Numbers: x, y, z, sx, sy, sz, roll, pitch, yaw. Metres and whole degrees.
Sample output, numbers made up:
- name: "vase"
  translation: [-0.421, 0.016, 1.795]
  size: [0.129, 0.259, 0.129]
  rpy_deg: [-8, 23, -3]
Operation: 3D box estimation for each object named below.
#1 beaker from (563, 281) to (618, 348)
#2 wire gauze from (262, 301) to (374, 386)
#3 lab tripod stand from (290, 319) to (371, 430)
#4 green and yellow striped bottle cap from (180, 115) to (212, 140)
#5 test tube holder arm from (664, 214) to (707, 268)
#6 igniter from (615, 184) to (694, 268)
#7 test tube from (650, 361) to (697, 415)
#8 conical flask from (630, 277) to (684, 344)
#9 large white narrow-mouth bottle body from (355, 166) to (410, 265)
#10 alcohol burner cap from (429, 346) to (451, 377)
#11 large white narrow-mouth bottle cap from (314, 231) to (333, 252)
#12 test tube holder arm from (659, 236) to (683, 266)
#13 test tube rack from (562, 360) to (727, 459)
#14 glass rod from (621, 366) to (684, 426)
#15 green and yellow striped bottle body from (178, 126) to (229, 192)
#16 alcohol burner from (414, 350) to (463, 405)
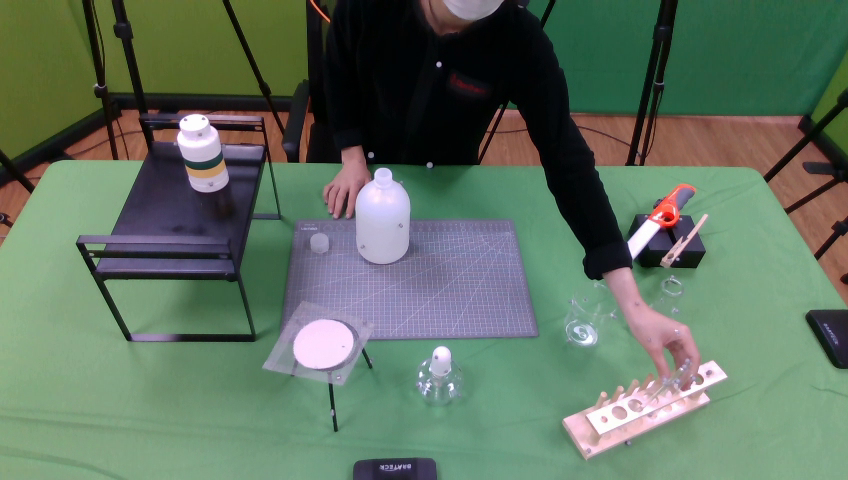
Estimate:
- name: "beaker"
  translation: [0.283, 0.129, 1.041]
  size: [0.074, 0.101, 0.083]
  rpy_deg: [11, 46, 7]
- name: "wire gauze"
  translation: [-0.151, 0.148, 0.873]
  size: [0.121, 0.011, 0.124]
  rpy_deg: [14, 46, 12]
- name: "lab tripod stand"
  translation: [-0.146, 0.194, 0.923]
  size: [0.148, 0.132, 0.147]
  rpy_deg: [1, 47, -1]
- name: "green and yellow striped bottle cap"
  translation: [-0.358, -0.177, 0.951]
  size: [0.045, 0.020, 0.045]
  rpy_deg: [2, 45, -2]
- name: "test tube holder arm"
  translation: [0.507, -0.001, 1.170]
  size: [0.013, 0.015, 0.178]
  rpy_deg: [34, 54, 26]
- name: "igniter"
  translation: [0.459, -0.035, 1.197]
  size: [0.057, 0.025, 0.276]
  rpy_deg: [33, 55, 27]
- name: "test tube"
  translation: [0.364, 0.222, 0.897]
  size: [0.017, 0.151, 0.017]
  rpy_deg: [4, 49, -4]
- name: "conical flask"
  translation: [0.408, 0.117, 1.044]
  size: [0.075, 0.122, 0.075]
  rpy_deg: [2, 46, -2]
- name: "large white narrow-mouth bottle body"
  translation: [-0.076, -0.051, 1.119]
  size: [0.102, 0.195, 0.101]
  rpy_deg: [2, 44, -2]
- name: "alcohol burner cap"
  translation: [0.026, 0.180, 0.912]
  size: [0.034, 0.048, 0.033]
  rpy_deg: [2, 47, -1]
- name: "large white narrow-mouth bottle cap"
  translation: [-0.195, 0.003, 1.178]
  size: [0.038, 0.024, 0.037]
  rpy_deg: [2, 45, -2]
- name: "test tube holder arm"
  translation: [0.472, 0.020, 1.149]
  size: [0.010, 0.015, 0.088]
  rpy_deg: [35, 54, 26]
- name: "test tube rack"
  translation: [0.341, 0.247, 0.940]
  size: [0.243, 0.085, 0.066]
  rpy_deg: [-16, 50, -18]
- name: "glass rod"
  translation: [0.322, 0.227, 0.866]
  size: [0.008, 0.200, 0.008]
  rpy_deg: [5, 51, -7]
- name: "green and yellow striped bottle body"
  translation: [-0.361, -0.142, 0.989]
  size: [0.063, 0.120, 0.063]
  rpy_deg: [2, 46, -2]
- name: "alcohol burner"
  translation: [0.023, 0.205, 0.939]
  size: [0.078, 0.120, 0.077]
  rpy_deg: [1, 48, -1]
